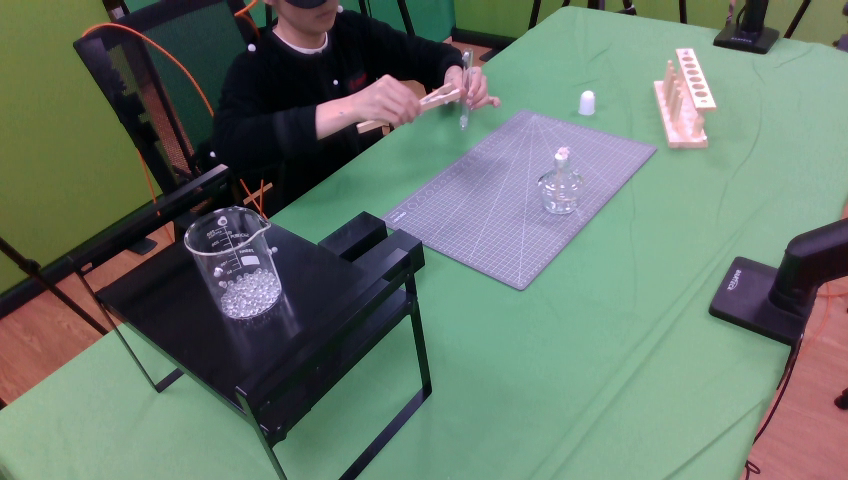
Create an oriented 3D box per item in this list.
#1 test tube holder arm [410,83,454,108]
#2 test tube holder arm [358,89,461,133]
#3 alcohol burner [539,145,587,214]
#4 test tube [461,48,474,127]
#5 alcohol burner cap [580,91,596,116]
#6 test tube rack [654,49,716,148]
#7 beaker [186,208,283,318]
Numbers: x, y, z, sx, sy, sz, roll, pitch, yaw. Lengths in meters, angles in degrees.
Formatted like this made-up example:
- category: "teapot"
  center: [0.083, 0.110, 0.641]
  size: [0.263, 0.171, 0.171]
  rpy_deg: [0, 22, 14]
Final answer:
- category: "test tube holder arm"
  center: [0.013, -0.235, 1.004]
  size: [0.088, 0.015, 0.010]
  rpy_deg: [-36, 51, -20]
- category: "test tube holder arm"
  center: [-0.023, -0.212, 0.991]
  size: [0.179, 0.015, 0.013]
  rpy_deg: [-22, 47, -8]
- category: "alcohol burner"
  center: [0.226, -0.102, 0.986]
  size: [0.078, 0.119, 0.077]
  rpy_deg: [-6, 41, 6]
- category: "test tube"
  center: [0.076, -0.265, 1.064]
  size: [0.017, 0.151, 0.017]
  rpy_deg: [1, 44, 0]
- category: "alcohol burner cap"
  center: [0.338, -0.283, 1.238]
  size: [0.034, 0.048, 0.033]
  rpy_deg: [-5, 42, 5]
- category: "test tube rack"
  center: [0.502, -0.281, 1.176]
  size: [0.066, 0.085, 0.241]
  rpy_deg: [1, 41, 11]
- category: "beaker"
  center: [-0.192, 0.026, 0.637]
  size: [0.084, 0.101, 0.073]
  rpy_deg: [-13, 41, -7]
